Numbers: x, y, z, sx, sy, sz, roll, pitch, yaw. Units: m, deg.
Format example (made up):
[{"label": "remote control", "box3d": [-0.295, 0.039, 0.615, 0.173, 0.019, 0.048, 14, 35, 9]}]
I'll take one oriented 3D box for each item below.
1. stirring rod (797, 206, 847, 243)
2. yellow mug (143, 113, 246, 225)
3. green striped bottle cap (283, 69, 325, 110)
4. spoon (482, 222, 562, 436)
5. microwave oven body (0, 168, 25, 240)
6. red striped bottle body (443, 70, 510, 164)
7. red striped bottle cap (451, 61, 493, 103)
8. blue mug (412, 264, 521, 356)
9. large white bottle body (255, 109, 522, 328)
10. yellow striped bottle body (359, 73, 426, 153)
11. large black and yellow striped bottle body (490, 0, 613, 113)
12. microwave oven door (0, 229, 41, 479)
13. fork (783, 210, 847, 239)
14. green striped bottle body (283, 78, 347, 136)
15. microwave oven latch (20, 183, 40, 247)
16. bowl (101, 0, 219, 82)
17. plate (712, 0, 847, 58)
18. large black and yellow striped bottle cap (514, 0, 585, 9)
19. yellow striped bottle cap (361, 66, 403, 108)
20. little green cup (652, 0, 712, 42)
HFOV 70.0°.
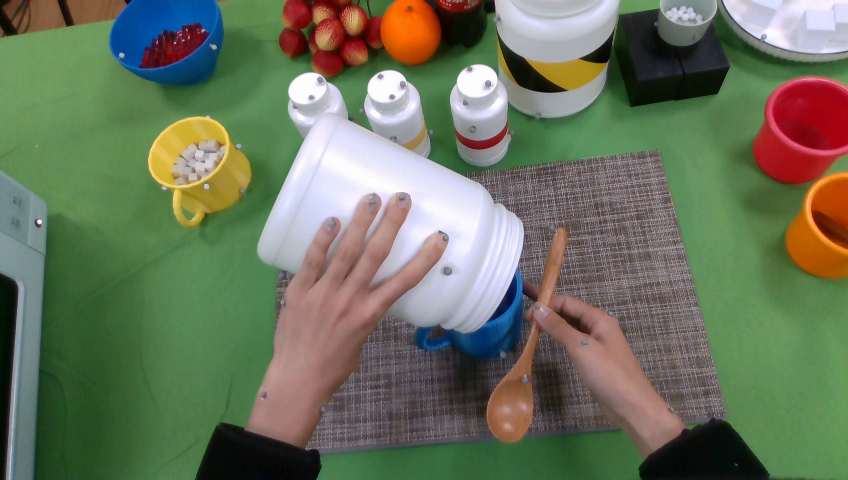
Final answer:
[{"label": "stirring rod", "box3d": [0.397, 0.000, 0.559, 0.014, 0.006, 0.175, -4, 23, 4]}, {"label": "yellow mug", "box3d": [-0.278, -0.080, 0.730, 0.100, 0.064, 0.130, 3, 67, 9]}, {"label": "green striped bottle cap", "box3d": [-0.131, -0.164, 0.659, 0.044, 0.020, 0.044, -2, 66, 5]}, {"label": "spoon", "box3d": [0.093, 0.078, 0.534, 0.041, 0.021, 0.194, 17, 93, 1]}, {"label": "microwave oven body", "box3d": [-0.602, 0.126, 0.573, 0.326, 0.262, 0.437, -15, 66, 1]}, {"label": "red striped bottle body", "box3d": [0.059, -0.143, 0.681, 0.063, 0.121, 0.062, -6, 62, 12]}, {"label": "red striped bottle cap", "box3d": [0.050, -0.166, 0.633, 0.044, 0.018, 0.044, -1, 64, 3]}, {"label": "blue mug", "box3d": [0.039, 0.069, 0.591, 0.116, 0.107, 0.081, -33, 65, -8]}, {"label": "large white bottle body", "box3d": [-0.026, -0.011, 0.491, 0.185, 0.130, 0.130, 23, 69, -12]}, {"label": "yellow striped bottle body", "box3d": [-0.036, -0.143, 0.693, 0.063, 0.121, 0.062, -3, 65, 8]}, {"label": "large black and yellow striped bottle body", "box3d": [0.140, -0.245, 0.679, 0.130, 0.185, 0.129, -3, 66, 7]}, {"label": "microwave oven door", "box3d": [-0.452, 0.124, 0.547, 0.039, 0.246, 0.352, -15, 65, 2]}, {"label": "fork", "box3d": [0.426, -0.002, 0.548, 0.028, 0.019, 0.205, -44, 23, -10]}, {"label": "green striped bottle body", "box3d": [-0.122, -0.142, 0.706, 0.063, 0.120, 0.062, -3, 66, 7]}, {"label": "microwave oven latch", "box3d": [-0.485, -0.028, 0.731, 0.030, 0.030, 0.078, -13, 66, 2]}, {"label": "bowl", "box3d": [-0.338, -0.267, 0.815, 0.151, 0.077, 0.150, -3, 66, 7]}, {"label": "plate", "box3d": [0.456, -0.302, 0.739, 0.209, 0.038, 0.207, -3, 66, 7]}, {"label": "large black and yellow striped bottle cap", "box3d": [0.129, -0.279, 0.600, 0.115, 0.019, 0.114, -4, 67, 10]}, {"label": "yellow striped bottle cap", "box3d": [-0.044, -0.163, 0.646, 0.044, 0.019, 0.044, -1, 62, 3]}, {"label": "little green cup", "box3d": [0.290, -0.257, 0.687, 0.061, 0.039, 0.061, -2, 63, 5]}]
